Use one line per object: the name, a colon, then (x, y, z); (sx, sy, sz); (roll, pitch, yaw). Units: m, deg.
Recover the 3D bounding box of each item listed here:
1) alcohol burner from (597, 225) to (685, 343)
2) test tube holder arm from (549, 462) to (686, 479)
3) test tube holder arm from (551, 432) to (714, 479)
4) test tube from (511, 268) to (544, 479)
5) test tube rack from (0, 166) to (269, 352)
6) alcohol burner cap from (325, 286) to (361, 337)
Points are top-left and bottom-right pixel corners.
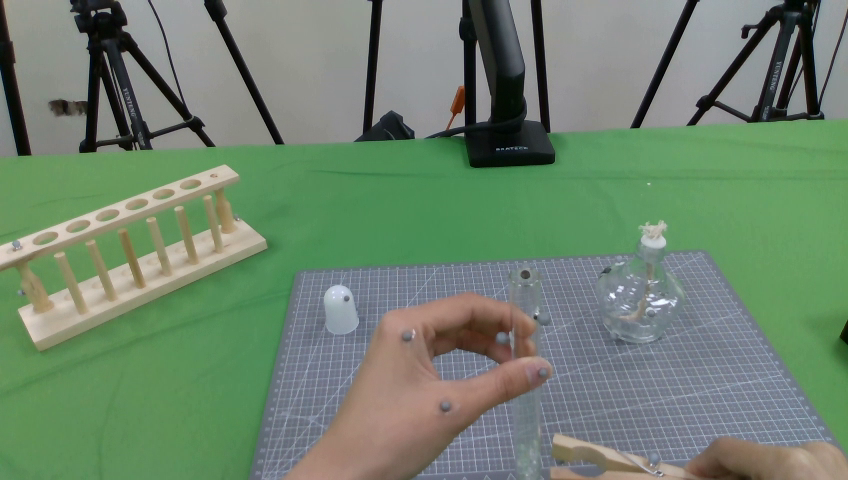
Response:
alcohol burner: (0.197, 0.034, 0.542); (0.078, 0.120, 0.077); (-1, 38, 1)
test tube holder arm: (0.115, 0.136, 0.339); (0.088, 0.015, 0.010); (3, 32, 5)
test tube holder arm: (0.159, 0.140, 0.333); (0.177, 0.015, 0.013); (12, 35, 19)
test tube: (0.056, 0.081, 0.328); (0.017, 0.151, 0.017); (-4, 31, 3)
test tube rack: (-0.293, 0.011, 0.632); (0.242, 0.086, 0.066); (-28, 42, -31)
alcohol burner cap: (-0.079, 0.065, 0.578); (0.034, 0.048, 0.033); (-1, 36, 1)
